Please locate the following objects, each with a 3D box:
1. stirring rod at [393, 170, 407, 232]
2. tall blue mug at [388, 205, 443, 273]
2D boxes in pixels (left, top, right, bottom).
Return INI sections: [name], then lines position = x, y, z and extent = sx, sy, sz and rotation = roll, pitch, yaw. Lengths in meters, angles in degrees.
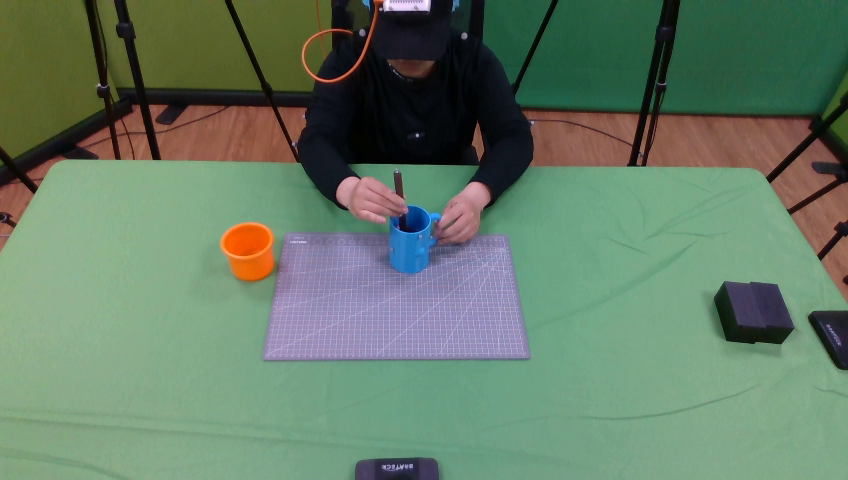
[stirring rod]
position = -0.043, -0.062, 1.083
extent = 0.014, 0.177, 0.006
rotation = 7, 53, 8
[tall blue mug]
position = -0.020, -0.010, 1.144
extent = 0.077, 0.108, 0.107
rotation = 23, 49, 18
